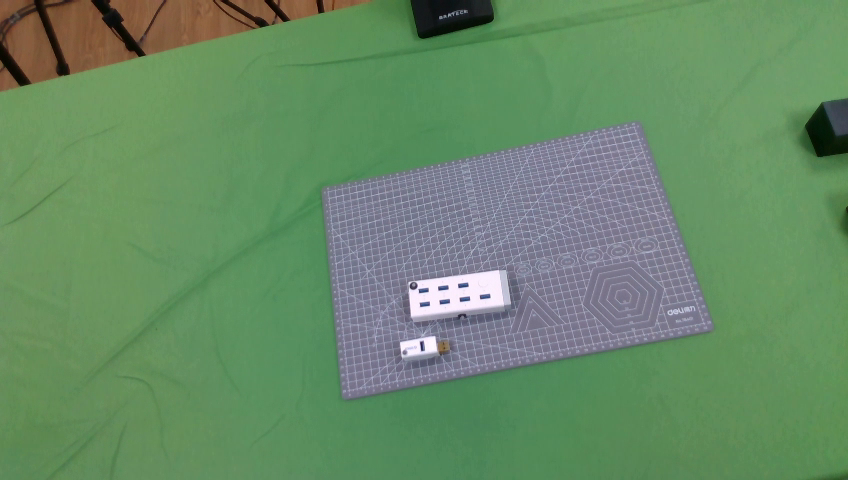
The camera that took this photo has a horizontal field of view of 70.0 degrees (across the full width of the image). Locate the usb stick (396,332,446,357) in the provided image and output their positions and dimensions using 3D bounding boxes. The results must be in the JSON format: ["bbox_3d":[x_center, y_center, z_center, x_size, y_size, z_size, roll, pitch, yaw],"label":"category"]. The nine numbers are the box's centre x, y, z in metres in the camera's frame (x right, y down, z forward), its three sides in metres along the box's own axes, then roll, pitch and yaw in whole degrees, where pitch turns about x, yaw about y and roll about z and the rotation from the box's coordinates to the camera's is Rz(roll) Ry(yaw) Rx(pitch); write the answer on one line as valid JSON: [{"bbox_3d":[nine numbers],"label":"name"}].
[{"bbox_3d":[-0.003,0.126,0.734,0.059,0.027,0.021,-9,67,2],"label":"usb stick"}]

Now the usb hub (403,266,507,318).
[{"bbox_3d":[0.038,0.064,0.755,0.125,0.025,0.049,-8,67,4],"label":"usb hub"}]
